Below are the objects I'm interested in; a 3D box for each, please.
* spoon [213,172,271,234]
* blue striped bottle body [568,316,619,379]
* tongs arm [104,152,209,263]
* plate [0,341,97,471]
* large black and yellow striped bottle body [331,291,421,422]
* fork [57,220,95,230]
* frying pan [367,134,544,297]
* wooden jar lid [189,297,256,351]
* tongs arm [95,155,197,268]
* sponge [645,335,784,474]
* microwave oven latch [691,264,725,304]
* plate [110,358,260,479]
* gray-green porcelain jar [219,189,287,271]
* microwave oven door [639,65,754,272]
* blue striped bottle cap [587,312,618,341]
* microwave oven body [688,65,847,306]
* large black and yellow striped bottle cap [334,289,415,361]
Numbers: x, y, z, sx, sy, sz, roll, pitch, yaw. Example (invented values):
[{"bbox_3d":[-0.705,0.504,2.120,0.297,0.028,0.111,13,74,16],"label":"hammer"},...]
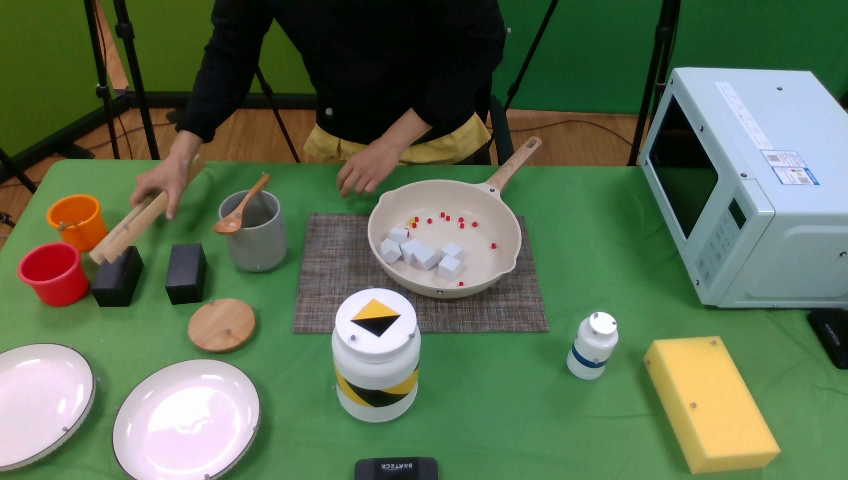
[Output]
[{"bbox_3d":[-0.312,-0.069,1.069,0.041,0.022,0.193,10,43,10],"label":"spoon"},{"bbox_3d":[0.276,0.168,0.984,0.063,0.121,0.062,2,46,-2],"label":"blue striped bottle body"},{"bbox_3d":[-0.500,-0.073,1.151,0.051,0.026,0.383,-23,28,26],"label":"tongs arm"},{"bbox_3d":[-0.599,0.247,0.904,0.209,0.038,0.208,2,47,-2],"label":"plate"},{"bbox_3d":[-0.071,0.175,0.911,0.131,0.185,0.130,2,47,-2],"label":"large black and yellow striped bottle body"},{"bbox_3d":[-0.624,-0.027,1.086,0.028,0.018,0.207,-3,2,-17],"label":"fork"},{"bbox_3d":[0.104,-0.069,1.205,0.305,0.103,0.487,32,61,23],"label":"frying pan"},{"bbox_3d":[-0.342,0.145,1.033,0.108,0.021,0.107,2,45,-2],"label":"wooden jar lid"},{"bbox_3d":[-0.515,-0.066,1.157,0.028,0.028,0.385,-29,25,22],"label":"tongs arm"},{"bbox_3d":[0.449,0.253,0.956,0.118,0.061,0.205,-4,46,-7],"label":"sponge"},{"bbox_3d":[0.521,0.081,1.116,0.030,0.029,0.078,0,46,-3],"label":"microwave oven latch"},{"bbox_3d":[-0.349,0.273,0.899,0.208,0.039,0.206,2,46,-2],"label":"plate"},{"bbox_3d":[-0.309,-0.014,1.113,0.106,0.127,0.105,2,46,-2],"label":"gray-green porcelain jar"},{"bbox_3d":[0.522,-0.147,1.192,0.039,0.245,0.353,0,47,-3],"label":"microwave oven door"},{"bbox_3d":[0.279,0.134,0.947,0.044,0.021,0.044,2,45,-2],"label":"blue striped bottle cap"},{"bbox_3d":[0.669,-0.111,1.176,0.326,0.261,0.439,0,46,-3],"label":"microwave oven body"},{"bbox_3d":[-0.069,0.117,0.850,0.115,0.019,0.114,2,45,-2],"label":"large black and yellow striped bottle cap"}]
